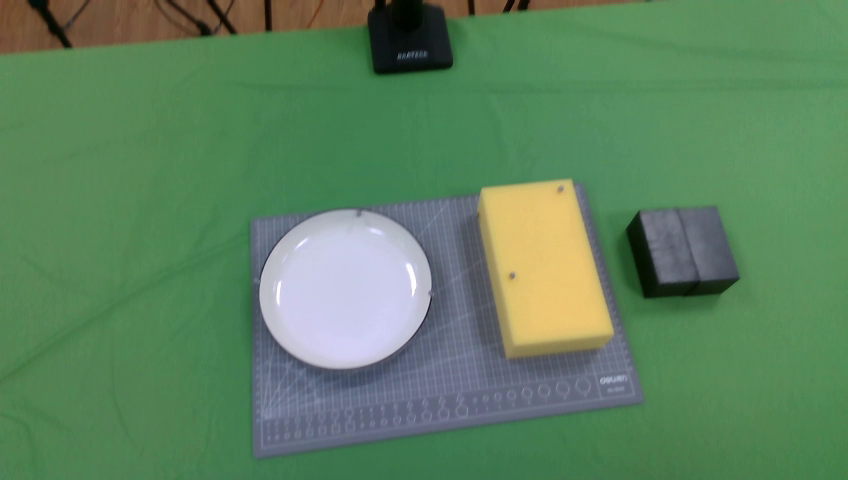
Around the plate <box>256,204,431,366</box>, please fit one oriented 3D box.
[{"bbox_3d":[-0.095,0.055,0.737,0.209,0.038,0.207,1,65,-2],"label":"plate"}]

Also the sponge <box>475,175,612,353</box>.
[{"bbox_3d":[0.141,0.027,0.747,0.118,0.061,0.205,-8,65,-5],"label":"sponge"}]
